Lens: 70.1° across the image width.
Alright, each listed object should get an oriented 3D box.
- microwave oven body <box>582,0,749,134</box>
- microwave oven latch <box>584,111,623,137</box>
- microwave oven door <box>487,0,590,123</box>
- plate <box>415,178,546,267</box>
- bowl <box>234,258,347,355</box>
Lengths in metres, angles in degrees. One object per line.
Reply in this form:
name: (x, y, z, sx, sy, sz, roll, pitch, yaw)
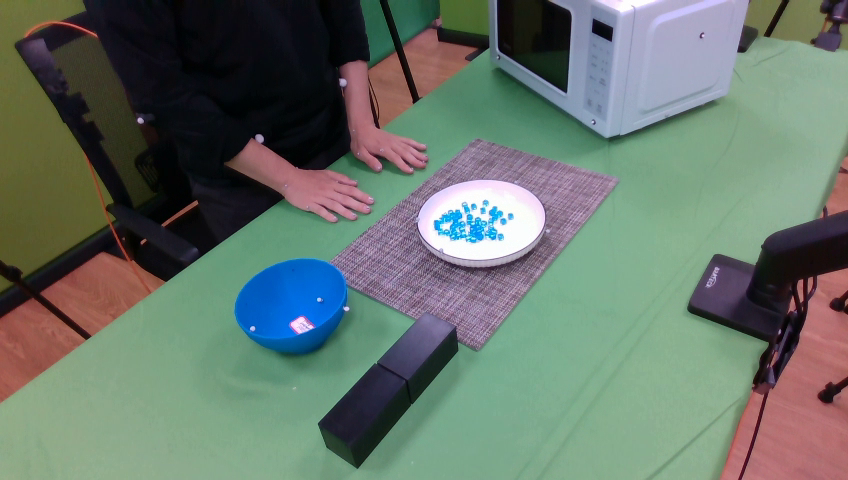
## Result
microwave oven body: (0.382, -0.444, 1.246, 0.327, 0.261, 0.437, -22, 42, -16)
microwave oven latch: (0.337, -0.222, 1.142, 0.030, 0.029, 0.078, -21, 42, -14)
microwave oven door: (0.232, -0.420, 1.231, 0.039, 0.245, 0.352, -22, 43, -16)
plate: (0.091, -0.026, 0.970, 0.207, 0.039, 0.206, -4, 41, 4)
bowl: (-0.174, 0.103, 0.831, 0.151, 0.077, 0.150, -4, 41, 3)
